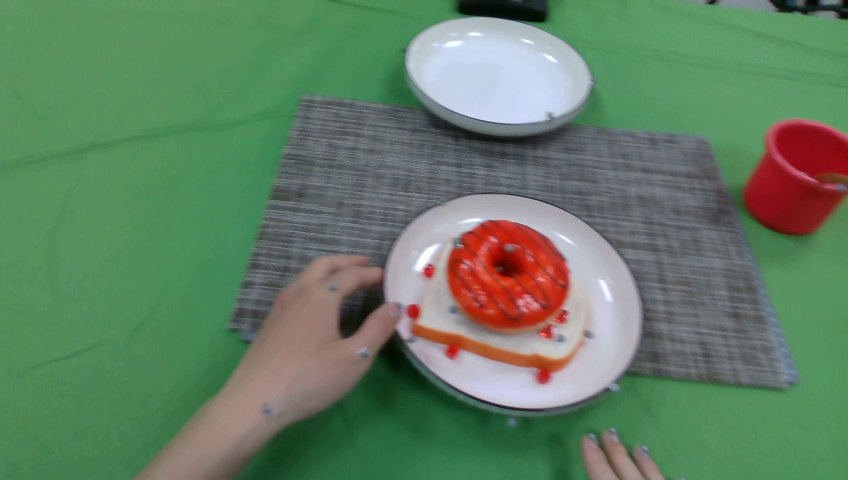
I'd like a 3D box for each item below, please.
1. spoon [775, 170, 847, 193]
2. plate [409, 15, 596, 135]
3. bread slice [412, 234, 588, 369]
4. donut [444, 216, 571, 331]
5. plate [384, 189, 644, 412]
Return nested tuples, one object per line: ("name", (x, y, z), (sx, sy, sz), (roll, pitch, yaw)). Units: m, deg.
("spoon", (0.358, -0.054, 0.540), (0.041, 0.021, 0.194), (23, 9, 11))
("plate", (0.086, -0.182, 0.681), (0.208, 0.039, 0.205), (3, 49, -4))
("bread slice", (0.068, 0.048, 0.495), (0.131, 0.019, 0.104), (15, 52, 8))
("donut", (0.063, 0.025, 0.466), (0.099, 0.048, 0.098), (2, 52, -3))
("plate", (0.071, 0.045, 0.495), (0.209, 0.038, 0.207), (3, 51, -3))
